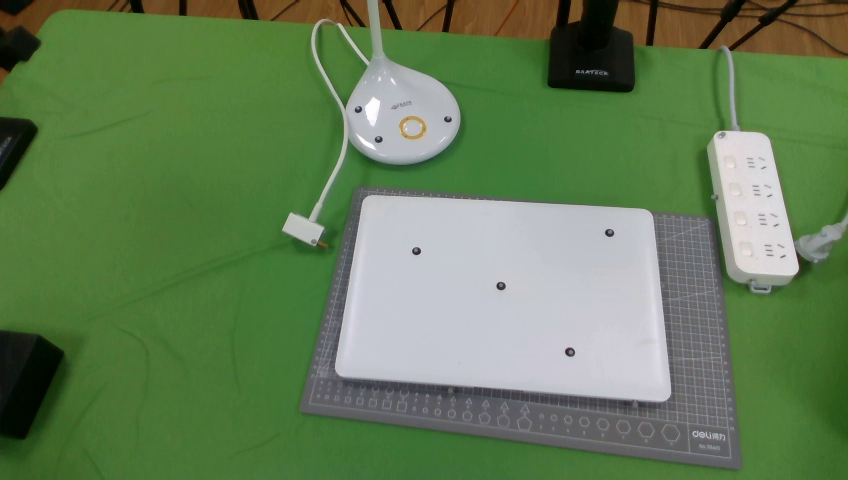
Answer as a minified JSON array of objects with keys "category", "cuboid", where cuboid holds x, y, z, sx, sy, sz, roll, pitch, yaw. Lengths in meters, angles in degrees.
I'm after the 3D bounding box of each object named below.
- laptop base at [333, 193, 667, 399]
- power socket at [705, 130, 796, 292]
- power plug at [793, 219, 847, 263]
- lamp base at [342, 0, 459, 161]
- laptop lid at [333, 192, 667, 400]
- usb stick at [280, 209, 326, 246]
[{"category":"laptop base","cuboid":[0.087,0.056,0.696,0.354,0.023,0.233,3,63,4]},{"category":"power socket","cuboid":[0.392,-0.045,0.735,0.072,0.033,0.225,5,60,4]},{"category":"power plug","cuboid":[0.459,0.006,0.698,0.073,0.053,0.035,-6,54,-18]},{"category":"lamp base","cuboid":[-0.042,-0.221,0.771,0.161,0.182,0.177,-29,59,-14]},{"category":"laptop lid","cuboid":[0.086,0.052,0.684,0.356,0.013,0.240,5,62,5]},{"category":"usb stick","cuboid":[-0.142,-0.013,0.735,0.059,0.021,0.027,30,92,-8]}]
